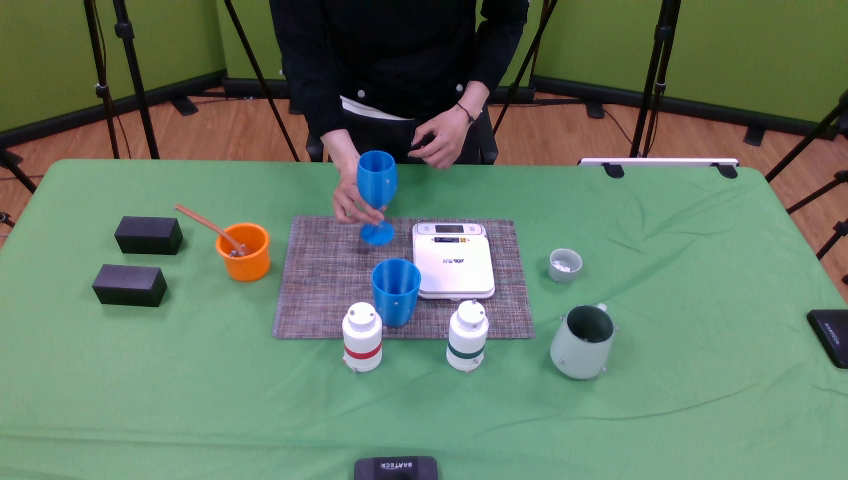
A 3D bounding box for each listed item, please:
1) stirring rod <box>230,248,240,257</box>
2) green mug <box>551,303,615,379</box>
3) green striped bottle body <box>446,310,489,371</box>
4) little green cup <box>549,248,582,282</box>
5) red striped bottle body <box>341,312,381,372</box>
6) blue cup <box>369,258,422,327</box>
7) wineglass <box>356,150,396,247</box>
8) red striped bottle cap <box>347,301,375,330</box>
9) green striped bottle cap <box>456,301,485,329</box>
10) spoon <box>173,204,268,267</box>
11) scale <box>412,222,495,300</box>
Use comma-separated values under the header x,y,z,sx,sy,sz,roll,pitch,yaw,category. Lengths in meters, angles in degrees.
x,y,z,sx,sy,sz,roll,pitch,yaw,category
-0.330,0.023,1.059,0.014,0.176,0.006,33,79,-12,stirring rod
0.271,0.157,1.007,0.092,0.105,0.125,27,50,21,green mug
0.070,0.155,0.984,0.063,0.120,0.063,2,46,-2,green striped bottle body
0.268,0.050,1.156,0.061,0.039,0.061,1,46,-1,little green cup
-0.100,0.154,0.972,0.063,0.120,0.062,2,46,-2,red striped bottle body
-0.051,0.097,1.039,0.093,0.101,0.092,3,43,-2,blue cup
-0.085,-0.073,1.088,0.074,0.173,0.073,2,45,-2,wineglass
-0.097,0.116,0.934,0.044,0.018,0.044,2,49,-3,red striped bottle cap
0.073,0.116,0.943,0.044,0.020,0.044,3,46,-3,green striped bottle cap
-0.363,-0.009,1.089,0.021,0.195,0.041,-35,31,23,spoon
0.052,0.031,1.158,0.149,0.032,0.199,1,46,-4,scale
